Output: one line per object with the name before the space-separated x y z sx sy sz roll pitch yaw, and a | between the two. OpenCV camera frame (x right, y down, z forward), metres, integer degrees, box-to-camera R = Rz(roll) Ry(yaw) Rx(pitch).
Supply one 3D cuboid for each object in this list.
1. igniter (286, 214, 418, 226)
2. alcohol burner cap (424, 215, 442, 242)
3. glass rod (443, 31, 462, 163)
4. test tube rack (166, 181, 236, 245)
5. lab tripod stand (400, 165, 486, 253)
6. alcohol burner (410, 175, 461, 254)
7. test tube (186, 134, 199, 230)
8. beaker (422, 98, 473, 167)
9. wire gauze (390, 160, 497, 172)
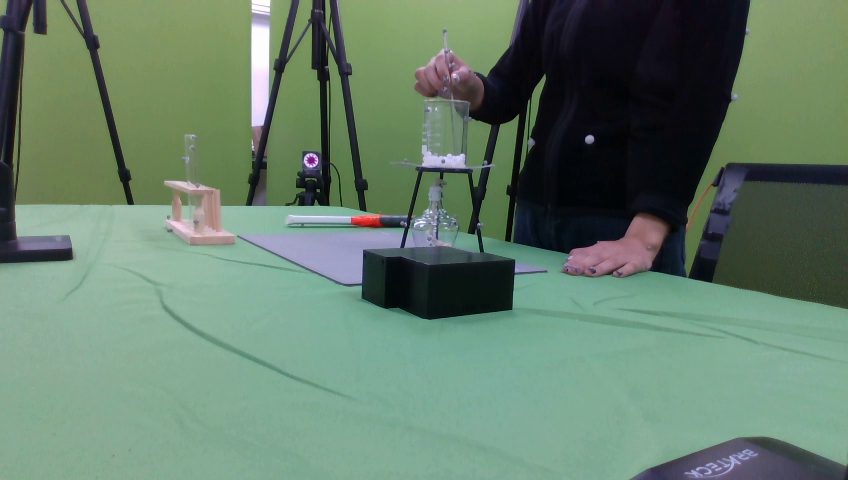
igniter | -0.145 -0.043 1.263 0.278 0.025 0.057 -1 -2 -25
alcohol burner cap | 0.017 -0.022 1.098 0.034 0.048 0.034 2 9 0
glass rod | 0.043 -0.216 0.916 0.008 0.199 0.008 -7 2 1
test tube rack | -0.383 -0.051 1.024 0.067 0.085 0.241 -2 9 -31
lab tripod stand | 0.027 -0.049 0.930 0.148 0.131 0.148 2 9 0
alcohol burner | 0.018 -0.040 0.931 0.078 0.119 0.078 0 7 0
test tube | -0.360 -0.089 0.946 0.017 0.150 0.017 0 10 0
beaker | 0.031 -0.162 0.919 0.074 0.100 0.083 -4 9 -36
wire gauze | 0.027 -0.114 0.920 0.122 0.011 0.124 -5 13 -34
